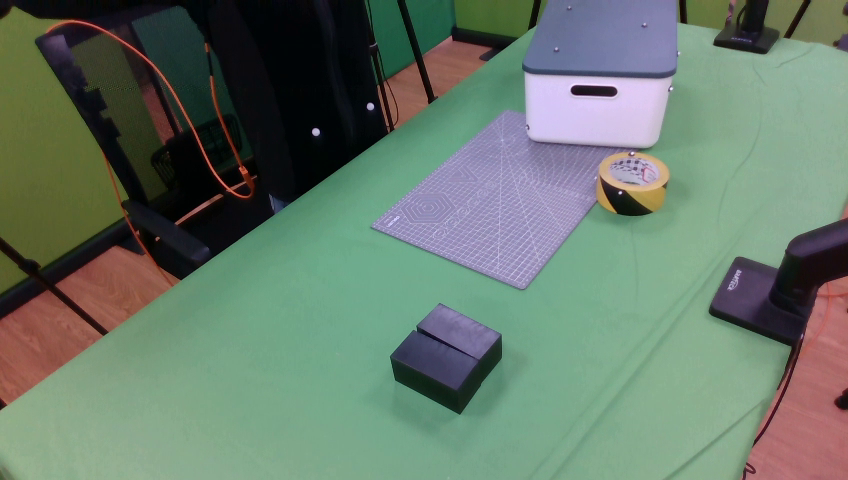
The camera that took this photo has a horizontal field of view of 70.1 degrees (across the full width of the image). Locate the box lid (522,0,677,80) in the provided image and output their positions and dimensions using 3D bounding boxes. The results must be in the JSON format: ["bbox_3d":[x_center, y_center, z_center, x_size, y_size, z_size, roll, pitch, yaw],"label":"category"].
[{"bbox_3d":[0.346,-0.397,1.163,0.262,0.015,0.371,6,42,17],"label":"box lid"}]

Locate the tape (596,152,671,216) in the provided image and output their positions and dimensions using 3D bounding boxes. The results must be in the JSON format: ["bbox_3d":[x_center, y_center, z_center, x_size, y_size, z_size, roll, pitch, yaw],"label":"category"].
[{"bbox_3d":[0.349,-0.095,1.009,0.117,0.053,0.116,-3,42,3],"label":"tape"}]

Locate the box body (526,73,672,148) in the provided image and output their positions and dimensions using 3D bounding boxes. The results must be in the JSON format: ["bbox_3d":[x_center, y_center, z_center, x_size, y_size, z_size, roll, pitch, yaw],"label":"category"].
[{"bbox_3d":[0.356,-0.342,1.212,0.253,0.161,0.363,7,42,17],"label":"box body"}]
